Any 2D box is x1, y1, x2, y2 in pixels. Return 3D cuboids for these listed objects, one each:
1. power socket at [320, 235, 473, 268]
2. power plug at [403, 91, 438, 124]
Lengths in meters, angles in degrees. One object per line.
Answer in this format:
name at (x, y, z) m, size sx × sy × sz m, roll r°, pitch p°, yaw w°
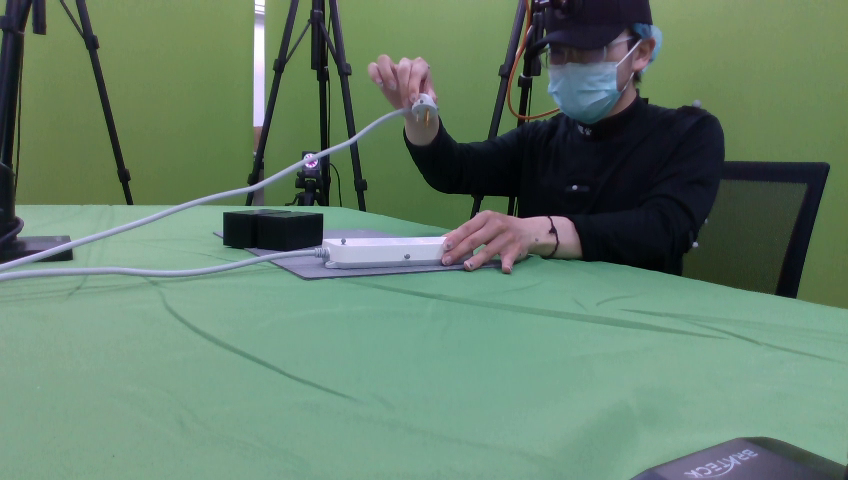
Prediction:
power socket at (-0.034, 0.013, 0.824) m, size 0.228 × 0.032 × 0.072 m, roll -2°, pitch 8°, yaw -30°
power plug at (-0.005, -0.185, 0.879) m, size 0.035 × 0.052 × 0.072 m, roll 11°, pitch -22°, yaw -17°
